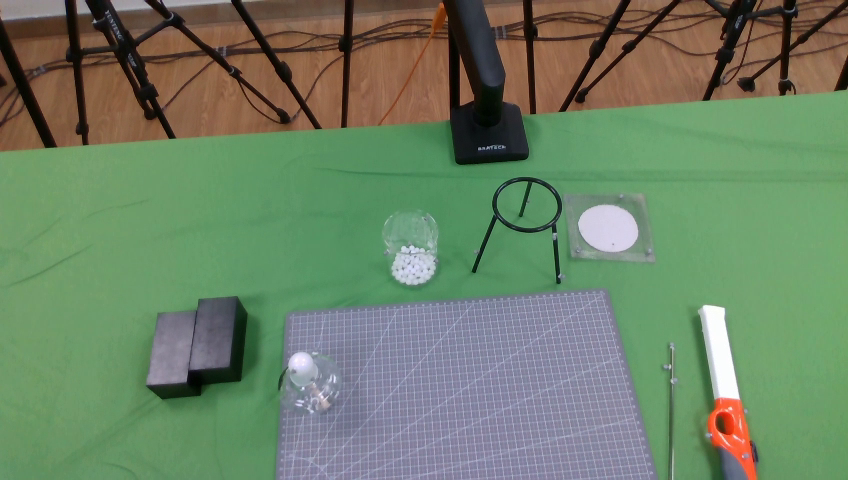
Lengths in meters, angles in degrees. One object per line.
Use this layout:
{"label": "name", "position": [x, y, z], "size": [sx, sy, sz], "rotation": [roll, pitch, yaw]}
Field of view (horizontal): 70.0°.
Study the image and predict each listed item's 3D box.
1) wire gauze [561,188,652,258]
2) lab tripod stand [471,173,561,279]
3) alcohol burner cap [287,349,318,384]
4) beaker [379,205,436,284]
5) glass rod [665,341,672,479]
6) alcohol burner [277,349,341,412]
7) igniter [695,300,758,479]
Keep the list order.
{"label": "wire gauze", "position": [0.272, -0.028, 0.907], "size": [0.125, 0.011, 0.120], "rotation": [1, 57, 4]}
{"label": "lab tripod stand", "position": [0.132, -0.020, 0.832], "size": [0.148, 0.132, 0.147], "rotation": [-1, 56, 3]}
{"label": "alcohol burner cap", "position": [-0.141, 0.144, 0.701], "size": [0.034, 0.048, 0.033], "rotation": [1, 60, -2]}
{"label": "beaker", "position": [-0.017, 0.011, 0.836], "size": [0.083, 0.101, 0.074], "rotation": [37, 66, 21]}
{"label": "glass rod", "position": [0.303, 0.216, 0.754], "size": [0.008, 0.008, 0.198], "rotation": [10, 59, 7]}
{"label": "alcohol burner", "position": [-0.142, 0.163, 0.731], "size": [0.078, 0.120, 0.077], "rotation": [-1, 56, 2]}
{"label": "igniter", "position": [0.372, 0.202, 0.749], "size": [0.057, 0.025, 0.274], "rotation": [9, 58, -5]}
